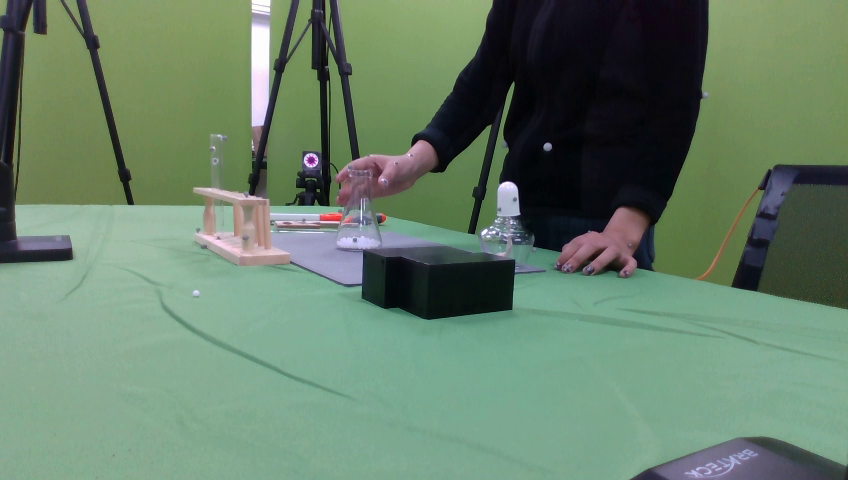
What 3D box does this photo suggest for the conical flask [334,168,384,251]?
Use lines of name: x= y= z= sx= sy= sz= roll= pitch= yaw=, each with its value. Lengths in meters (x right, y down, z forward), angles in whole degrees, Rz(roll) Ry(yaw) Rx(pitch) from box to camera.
conical flask: x=-0.098 y=-0.047 z=0.920 sx=0.075 sy=0.122 sz=0.075 roll=2 pitch=7 yaw=0

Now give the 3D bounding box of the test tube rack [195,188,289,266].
test tube rack: x=-0.266 y=-0.025 z=0.864 sx=0.067 sy=0.085 sz=0.241 roll=-2 pitch=9 yaw=-33

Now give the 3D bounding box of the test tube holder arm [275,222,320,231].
test tube holder arm: x=-0.238 y=-0.026 z=1.145 sx=0.088 sy=0.015 sz=0.010 roll=-3 pitch=46 yaw=-39

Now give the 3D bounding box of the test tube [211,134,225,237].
test tube: x=-0.300 y=-0.078 z=0.881 sx=0.017 sy=0.150 sz=0.017 roll=3 pitch=12 yaw=0

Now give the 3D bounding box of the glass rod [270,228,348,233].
glass rod: x=-0.234 y=-0.017 z=1.104 sx=0.201 sy=0.008 sz=0.008 roll=1 pitch=7 yaw=-26

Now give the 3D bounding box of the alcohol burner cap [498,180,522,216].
alcohol burner cap: x=0.114 y=-0.056 z=0.810 sx=0.034 sy=0.048 sz=0.034 roll=-5 pitch=12 yaw=1

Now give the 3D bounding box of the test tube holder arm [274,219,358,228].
test tube holder arm: x=-0.206 y=-0.032 z=1.177 sx=0.179 sy=0.015 sz=0.013 roll=-4 pitch=46 yaw=-39

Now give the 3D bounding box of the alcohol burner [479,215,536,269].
alcohol burner: x=0.114 y=-0.021 z=0.816 sx=0.078 sy=0.119 sz=0.078 roll=2 pitch=9 yaw=0

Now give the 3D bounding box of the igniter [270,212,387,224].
igniter: x=-0.213 y=-0.048 z=1.278 sx=0.278 sy=0.025 sz=0.057 roll=-1 pitch=-2 yaw=-25
